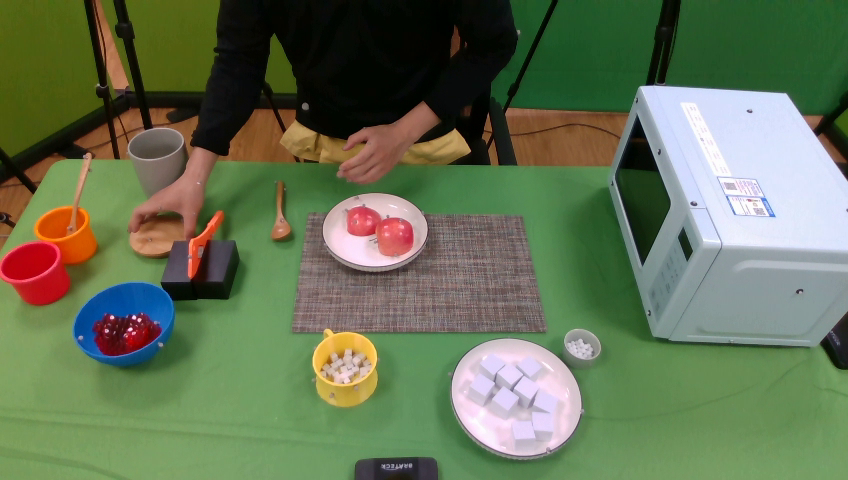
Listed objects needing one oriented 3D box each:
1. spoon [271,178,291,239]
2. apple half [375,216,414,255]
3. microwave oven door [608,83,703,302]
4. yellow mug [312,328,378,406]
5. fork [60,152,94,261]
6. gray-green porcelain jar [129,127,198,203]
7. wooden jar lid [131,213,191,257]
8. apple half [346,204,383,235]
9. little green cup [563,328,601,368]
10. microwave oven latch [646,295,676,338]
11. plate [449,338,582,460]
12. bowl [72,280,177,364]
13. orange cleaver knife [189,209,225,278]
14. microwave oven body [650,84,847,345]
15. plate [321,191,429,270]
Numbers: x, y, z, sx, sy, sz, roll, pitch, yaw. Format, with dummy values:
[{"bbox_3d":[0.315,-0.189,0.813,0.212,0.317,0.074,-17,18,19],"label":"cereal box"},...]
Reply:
[{"bbox_3d":[-0.292,-0.069,1.237,0.041,0.022,0.192,-20,48,8],"label":"spoon"},{"bbox_3d":[-0.056,-0.017,1.169,0.075,0.053,0.080,0,46,-7],"label":"apple half"},{"bbox_3d":[0.424,-0.096,1.138,0.039,0.245,0.353,2,47,-1],"label":"microwave oven door"},{"bbox_3d":[-0.132,0.193,0.971,0.100,0.064,0.130,-22,51,-22],"label":"yellow mug"},{"bbox_3d":[-0.638,-0.063,1.119,0.028,0.018,0.207,12,90,7],"label":"fork"},{"bbox_3d":[-0.521,-0.147,1.224,0.106,0.127,0.105,2,46,-2],"label":"gray-green porcelain jar"},{"bbox_3d":[-0.504,-0.008,1.167,0.108,0.021,0.107,3,47,-3],"label":"wooden jar lid"},{"bbox_3d":[-0.119,-0.049,1.207,0.081,0.033,0.081,2,50,-2],"label":"apple half"},{"bbox_3d":[0.265,0.185,1.025,0.061,0.039,0.061,1,45,-1],"label":"little green cup"},{"bbox_3d":[0.413,0.133,1.061,0.030,0.029,0.078,4,46,1],"label":"microwave oven latch"},{"bbox_3d":[0.141,0.251,0.956,0.208,0.039,0.206,2,46,-2],"label":"plate"},{"bbox_3d":[-0.473,0.147,0.982,0.151,0.077,0.150,2,46,-2],"label":"bowl"},{"bbox_3d":[-0.401,0.002,1.122,0.012,0.077,0.210,3,22,-4],"label":"orange cleaver knife"},{"bbox_3d":[0.569,-0.054,1.116,0.326,0.261,0.439,2,46,-1],"label":"microwave oven body"},{"bbox_3d":[-0.094,-0.015,1.185,0.209,0.038,0.208,2,46,-2],"label":"plate"}]
